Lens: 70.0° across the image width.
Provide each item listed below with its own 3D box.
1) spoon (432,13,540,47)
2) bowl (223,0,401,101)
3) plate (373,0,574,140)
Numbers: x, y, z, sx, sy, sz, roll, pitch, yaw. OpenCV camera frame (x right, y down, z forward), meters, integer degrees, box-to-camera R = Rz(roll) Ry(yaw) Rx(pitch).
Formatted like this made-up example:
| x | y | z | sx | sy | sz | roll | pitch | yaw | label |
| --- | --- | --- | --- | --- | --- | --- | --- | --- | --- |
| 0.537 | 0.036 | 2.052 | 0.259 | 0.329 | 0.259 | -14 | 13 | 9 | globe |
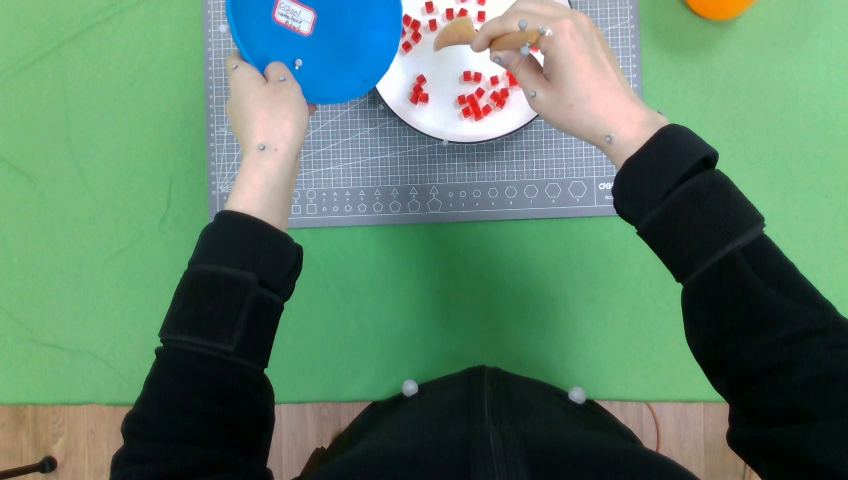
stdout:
| x | y | z | sx | sy | sz | roll | pitch | yaw | label |
| --- | --- | --- | --- | --- | --- | --- | --- | --- | --- |
| 0.046 | -0.160 | 0.469 | 0.041 | 0.192 | 0.022 | -39 | 119 | -2 | spoon |
| -0.104 | -0.197 | 0.521 | 0.152 | 0.076 | 0.152 | -8 | 106 | -30 | bowl |
| 0.043 | -0.202 | 0.606 | 0.209 | 0.038 | 0.209 | 0 | 89 | 3 | plate |
